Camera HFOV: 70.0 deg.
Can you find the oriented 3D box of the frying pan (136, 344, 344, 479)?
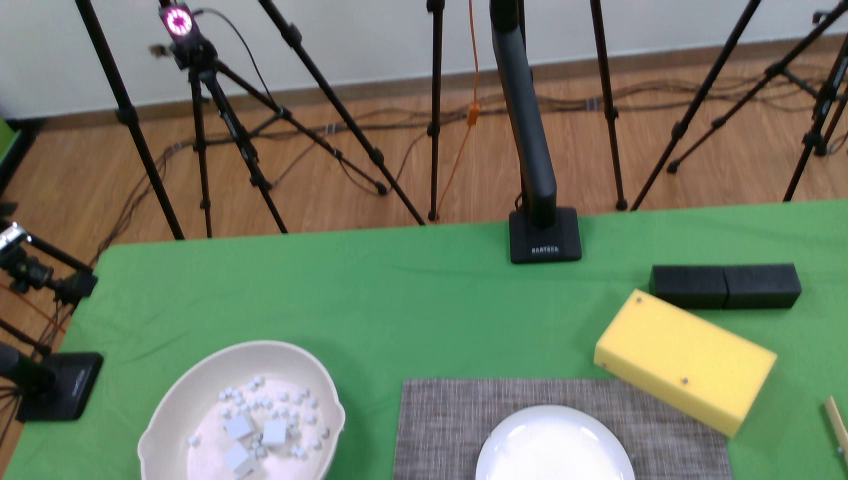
[{"bbox_3d":[-0.255,0.367,0.811,0.307,0.104,0.482,-9,44,6],"label":"frying pan"}]

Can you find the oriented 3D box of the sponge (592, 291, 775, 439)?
[{"bbox_3d":[0.361,0.171,0.859,0.205,0.061,0.118,27,61,29],"label":"sponge"}]

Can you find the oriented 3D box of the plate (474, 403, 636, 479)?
[{"bbox_3d":[0.170,0.321,0.798,0.207,0.039,0.205,-6,53,8],"label":"plate"}]

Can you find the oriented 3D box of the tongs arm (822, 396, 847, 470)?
[{"bbox_3d":[0.550,0.366,0.700,0.028,0.028,0.383,-6,53,4],"label":"tongs arm"}]
